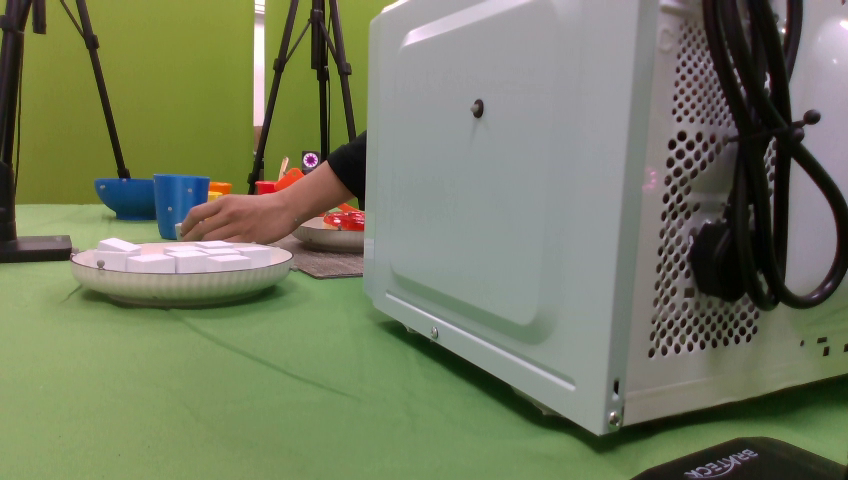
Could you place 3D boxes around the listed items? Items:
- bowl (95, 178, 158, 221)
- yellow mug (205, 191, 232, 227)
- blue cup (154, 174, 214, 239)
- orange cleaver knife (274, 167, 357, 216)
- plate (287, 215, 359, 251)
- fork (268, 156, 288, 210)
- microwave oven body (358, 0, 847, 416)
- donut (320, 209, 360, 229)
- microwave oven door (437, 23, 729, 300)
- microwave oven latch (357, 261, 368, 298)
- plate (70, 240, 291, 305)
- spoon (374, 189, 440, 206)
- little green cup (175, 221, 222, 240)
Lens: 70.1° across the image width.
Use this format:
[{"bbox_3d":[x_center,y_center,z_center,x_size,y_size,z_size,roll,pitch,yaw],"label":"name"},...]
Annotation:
[{"bbox_3d":[-0.576,-0.081,1.217,0.151,0.077,0.151,3,8,0],"label":"bowl"},{"bbox_3d":[-0.415,-0.057,1.131,0.130,0.064,0.100,6,8,16],"label":"yellow mug"},{"bbox_3d":[-0.391,-0.053,0.977,0.093,0.100,0.092,3,6,0],"label":"blue cup"},{"bbox_3d":[-0.238,-0.090,1.381,0.212,0.077,0.012,31,0,-19],"label":"orange cleaver knife"},{"bbox_3d":[-0.112,-0.012,0.960,0.209,0.038,0.209,3,8,0],"label":"plate"},{"bbox_3d":[-0.360,-0.144,1.508,0.028,0.018,0.207,1,49,0],"label":"fork"},{"bbox_3d":[0.211,-0.047,0.474,0.444,0.260,0.324,-1,7,-28],"label":"microwave oven body"},{"bbox_3d":[-0.115,-0.023,0.961,0.099,0.048,0.099,4,8,0],"label":"donut"},{"bbox_3d":[0.181,-0.072,0.621,0.358,0.243,0.039,-2,9,-29],"label":"microwave oven door"},{"bbox_3d":[-0.019,0.033,0.530,0.079,0.029,0.030,-1,7,-26],"label":"microwave oven latch"},{"bbox_3d":[-0.242,0.031,0.618,0.208,0.039,0.207,2,8,0],"label":"plate"},{"bbox_3d":[-0.028,-0.092,1.238,0.041,0.021,0.195,-2,12,41],"label":"spoon"},{"bbox_3d":[-0.313,-0.004,0.845,0.061,0.038,0.061,-1,9,0],"label":"little green cup"}]
